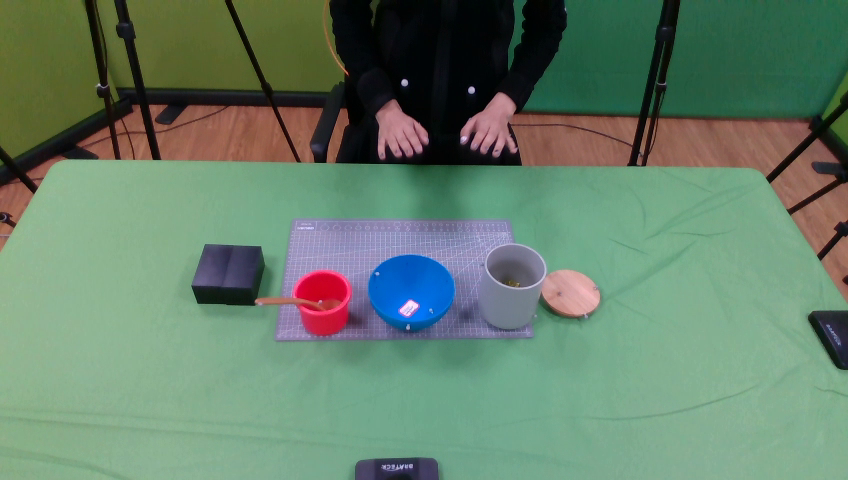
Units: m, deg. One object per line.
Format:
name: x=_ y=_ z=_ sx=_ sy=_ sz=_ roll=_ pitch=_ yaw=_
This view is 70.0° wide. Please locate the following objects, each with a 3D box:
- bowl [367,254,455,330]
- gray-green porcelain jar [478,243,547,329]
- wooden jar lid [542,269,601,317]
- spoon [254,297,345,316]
bowl: x=-0.023 y=0.104 z=1.053 sx=0.151 sy=0.077 sz=0.150 roll=2 pitch=46 yaw=-2
gray-green porcelain jar: x=0.150 y=0.085 z=1.049 sx=0.106 sy=0.127 sz=0.105 roll=2 pitch=46 yaw=-2
wooden jar lid: x=0.272 y=0.100 z=1.121 sx=0.108 sy=0.021 sz=0.107 roll=2 pitch=46 yaw=-2
spoon: x=-0.200 y=0.104 z=0.995 sx=0.041 sy=0.021 sz=0.195 roll=46 pitch=15 yaw=32
